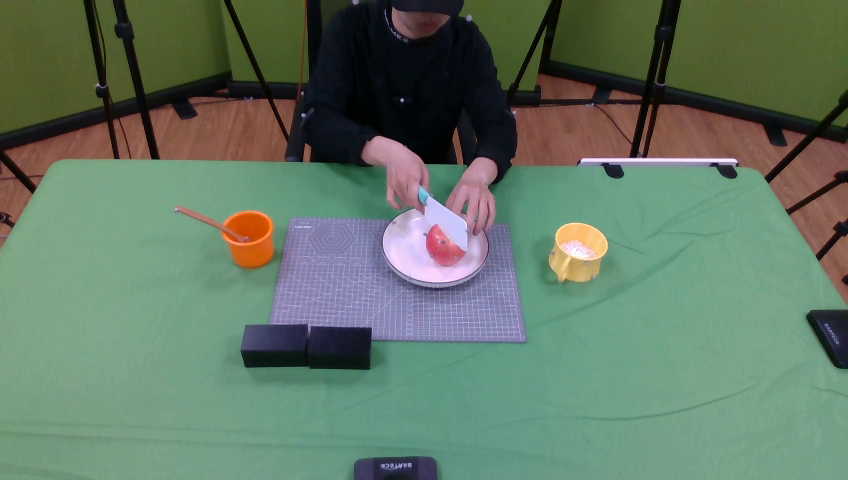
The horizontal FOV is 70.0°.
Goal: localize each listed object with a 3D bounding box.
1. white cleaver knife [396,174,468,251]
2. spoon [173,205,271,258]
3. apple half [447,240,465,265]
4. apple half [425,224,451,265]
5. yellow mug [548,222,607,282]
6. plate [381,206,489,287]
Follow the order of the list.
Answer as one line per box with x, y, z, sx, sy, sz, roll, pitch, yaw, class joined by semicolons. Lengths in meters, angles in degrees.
0.009;-0.057;1.146;0.021;0.066;0.284;-11;29;-23;white cleaver knife
-0.362;-0.017;1.098;0.021;0.195;0.041;-33;42;26;spoon
0.053;0.004;1.146;0.053;0.075;0.080;-12;41;-25;apple half
0.019;0.014;1.132;0.033;0.081;0.081;-15;49;-22;apple half
0.287;0.031;1.159;0.099;0.064;0.130;28;51;21;yellow mug
0.020;0.015;1.170;0.209;0.038;0.208;2;46;-2;plate
